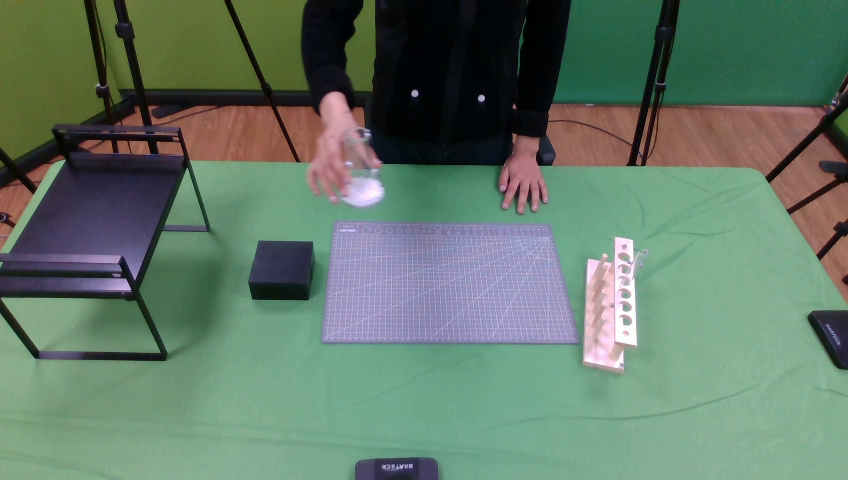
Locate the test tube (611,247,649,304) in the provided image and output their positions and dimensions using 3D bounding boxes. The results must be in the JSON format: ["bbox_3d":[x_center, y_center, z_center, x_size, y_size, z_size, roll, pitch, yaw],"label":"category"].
[{"bbox_3d":[0.352,0.065,1.043,0.017,0.151,0.017,4,49,-4],"label":"test tube"}]

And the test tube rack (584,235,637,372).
[{"bbox_3d":[0.329,0.103,1.073,0.067,0.085,0.241,10,47,7],"label":"test tube rack"}]

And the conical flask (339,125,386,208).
[{"bbox_3d":[-0.097,-0.114,0.924,0.075,0.122,0.075,0,46,0],"label":"conical flask"}]
